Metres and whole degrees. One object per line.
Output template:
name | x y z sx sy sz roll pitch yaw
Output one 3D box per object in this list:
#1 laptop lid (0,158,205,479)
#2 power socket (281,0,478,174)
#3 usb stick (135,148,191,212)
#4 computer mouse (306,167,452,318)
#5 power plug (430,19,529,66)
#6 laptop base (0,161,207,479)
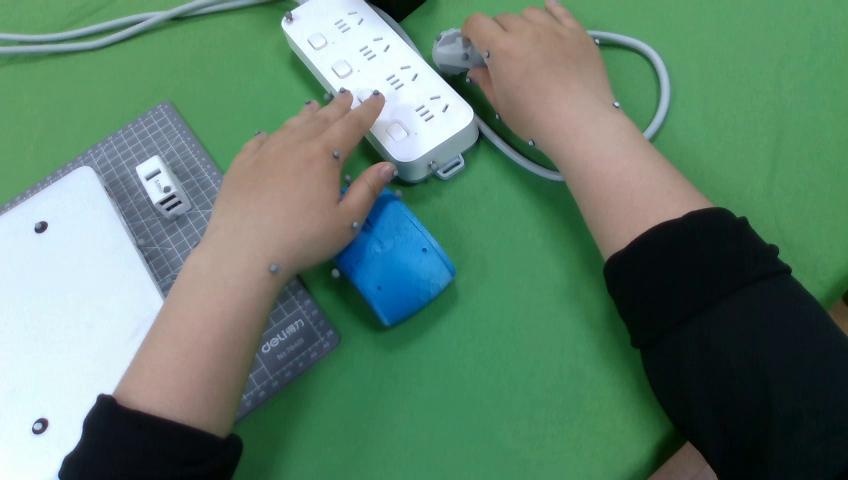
laptop lid | -0.344 0.111 0.411 0.356 0.013 0.239 -35 63 -8
power socket | -0.041 -0.139 0.488 0.072 0.033 0.224 -35 61 -7
usb stick | -0.208 -0.052 0.476 0.021 0.027 0.058 -35 59 -6
computer mouse | -0.035 -0.004 0.413 0.063 0.041 0.116 -37 57 -5
power plug | 0.040 -0.158 0.489 0.073 0.035 0.052 -3 35 -17
laptop base | -0.343 0.115 0.422 0.354 0.023 0.233 -36 65 -9
